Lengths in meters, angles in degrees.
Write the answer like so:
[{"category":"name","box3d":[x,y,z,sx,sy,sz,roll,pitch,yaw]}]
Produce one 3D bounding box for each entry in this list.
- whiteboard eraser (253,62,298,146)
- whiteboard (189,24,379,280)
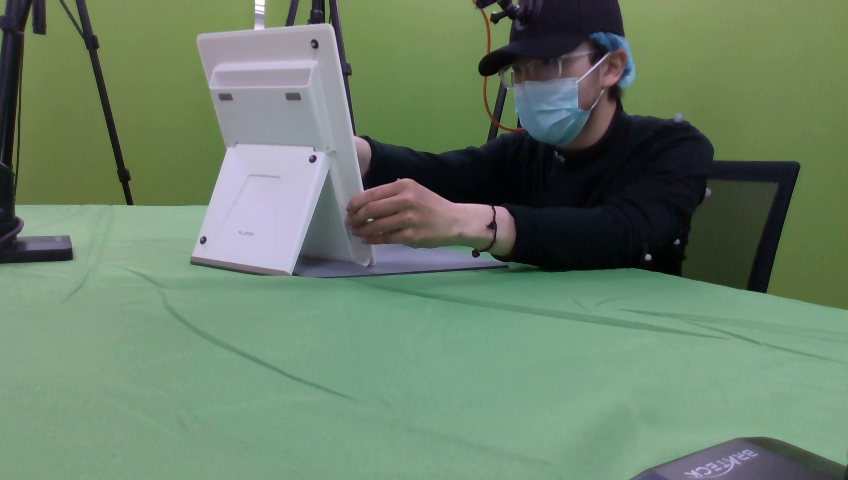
[{"category":"whiteboard eraser","box3d":[-0.197,-0.176,0.799,0.042,0.055,0.112,-33,-19,-23]},{"category":"whiteboard","box3d":[-0.207,-0.085,0.729,0.216,0.305,0.144,7,30,30]}]
